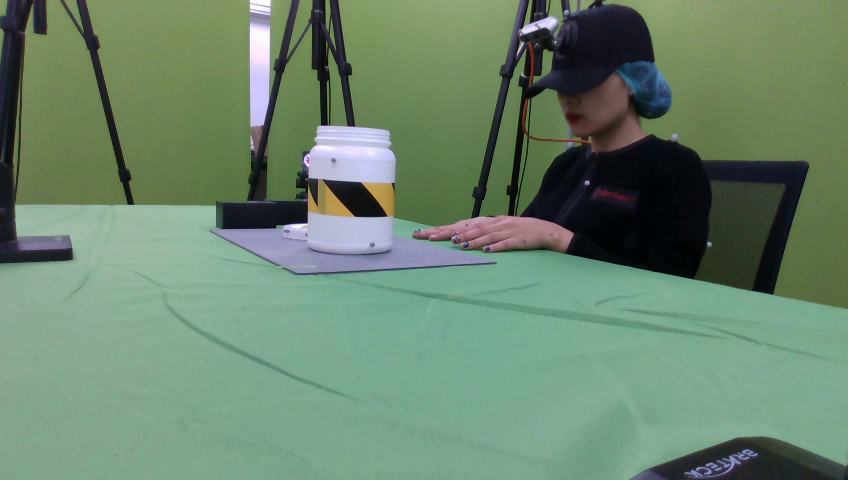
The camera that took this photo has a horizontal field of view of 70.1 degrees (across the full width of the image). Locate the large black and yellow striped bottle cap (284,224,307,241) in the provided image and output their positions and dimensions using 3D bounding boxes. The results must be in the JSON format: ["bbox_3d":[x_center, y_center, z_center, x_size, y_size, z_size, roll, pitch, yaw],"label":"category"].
[{"bbox_3d":[-0.186,-0.014,1.055,0.115,0.019,0.115,1,8,0],"label":"large black and yellow striped bottle cap"}]

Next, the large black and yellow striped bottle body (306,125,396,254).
[{"bbox_3d":[-0.109,-0.077,0.913,0.131,0.184,0.130,3,8,0],"label":"large black and yellow striped bottle body"}]
